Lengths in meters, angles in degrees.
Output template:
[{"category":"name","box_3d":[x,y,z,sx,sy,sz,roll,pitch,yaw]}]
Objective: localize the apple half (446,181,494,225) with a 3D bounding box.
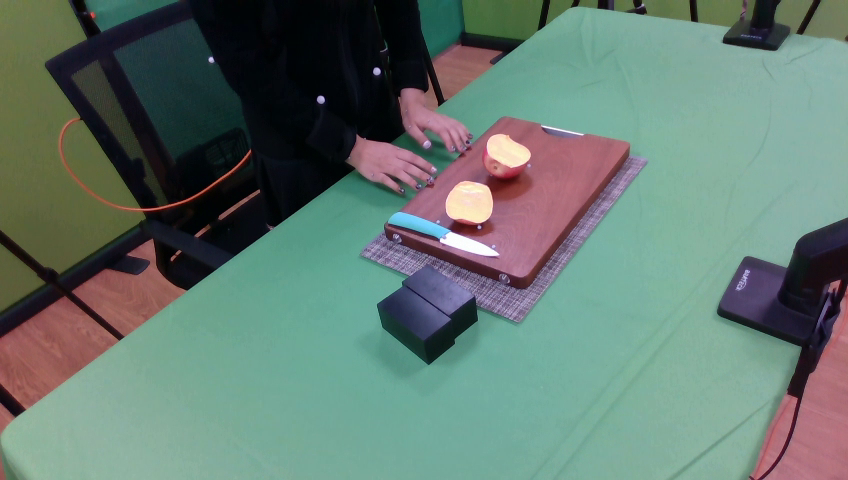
[{"category":"apple half","box_3d":[0.076,-0.056,0.976,0.081,0.033,0.081,-3,66,7]}]

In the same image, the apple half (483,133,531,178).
[{"category":"apple half","box_3d":[0.138,-0.139,1.049,0.080,0.053,0.075,30,48,7]}]

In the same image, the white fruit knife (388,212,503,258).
[{"category":"white fruit knife","box_3d":[0.032,-0.008,0.950,0.206,0.016,0.027,20,77,28]}]
